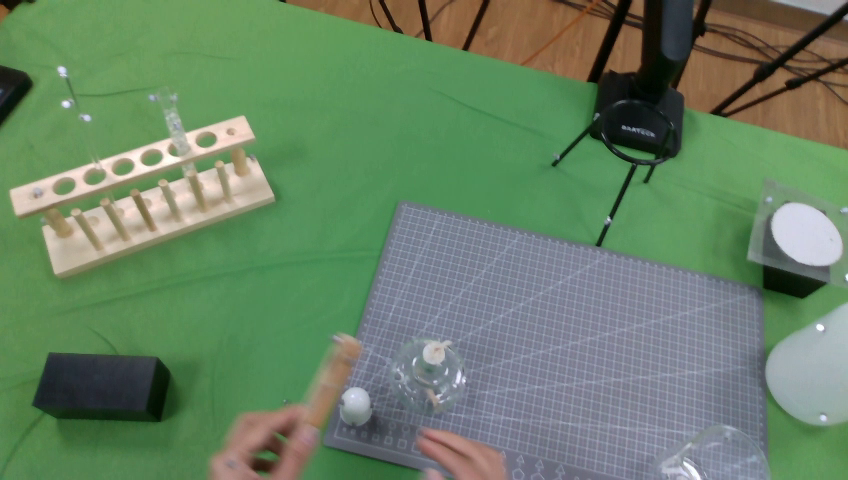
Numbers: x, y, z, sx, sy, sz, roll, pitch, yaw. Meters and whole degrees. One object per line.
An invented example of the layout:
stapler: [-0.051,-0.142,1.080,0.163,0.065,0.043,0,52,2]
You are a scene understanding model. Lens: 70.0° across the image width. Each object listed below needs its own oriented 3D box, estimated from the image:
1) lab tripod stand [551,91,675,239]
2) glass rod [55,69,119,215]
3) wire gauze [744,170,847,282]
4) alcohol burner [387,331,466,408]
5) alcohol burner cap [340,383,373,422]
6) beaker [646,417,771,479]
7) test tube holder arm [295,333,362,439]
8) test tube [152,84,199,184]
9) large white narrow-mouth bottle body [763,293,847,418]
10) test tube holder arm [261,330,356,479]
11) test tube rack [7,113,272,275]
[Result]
lab tripod stand: [0.227,-0.094,0.715,0.148,0.132,0.147,3,63,-6]
glass rod: [-0.333,-0.088,0.605,0.008,0.201,0.008,5,52,-6]
wire gauze: [0.443,-0.017,0.712,0.121,0.011,0.124,21,61,5]
alcohol burner: [0.005,0.120,0.585,0.078,0.120,0.077,4,61,-6]
alcohol burner cap: [-0.067,0.158,0.598,0.034,0.048,0.033,2,61,-3]
beaker: [0.258,0.215,0.569,0.084,0.101,0.073,11,61,1]
test tube holder arm: [-0.075,0.113,0.464,0.015,0.010,0.088,26,95,-33]
test tube: [-0.260,-0.106,0.641,0.017,0.151,0.017,4,59,-6]
large white narrow-mouth bottle body: [0.429,0.105,0.594,0.102,0.196,0.101,2,61,-4]
test tube holder arm: [-0.099,0.150,0.472,0.015,0.013,0.178,26,95,-33]
test tube rack: [-0.299,-0.052,0.665,0.243,0.086,0.066,-23,67,-17]
